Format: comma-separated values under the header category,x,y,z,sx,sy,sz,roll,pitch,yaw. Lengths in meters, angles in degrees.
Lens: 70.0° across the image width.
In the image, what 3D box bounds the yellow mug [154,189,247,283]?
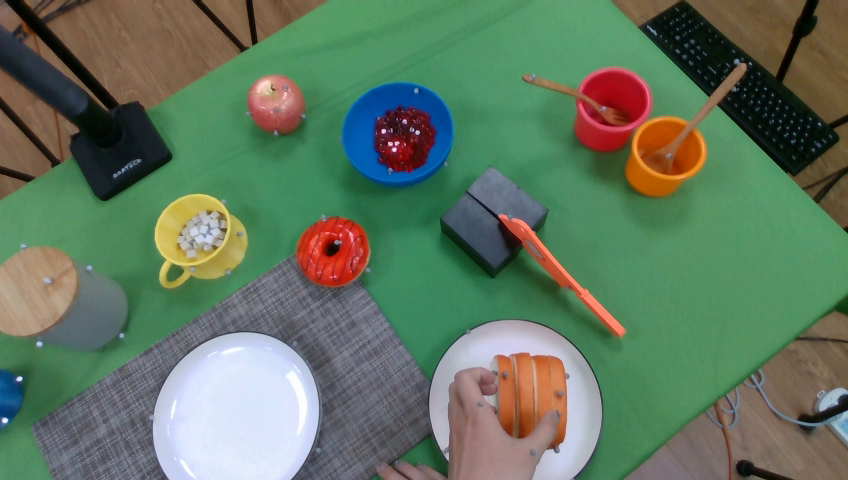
category,x,y,z,sx,sy,sz,roll,pitch,yaw
yellow mug,-0.306,0.002,0.810,0.099,0.064,0.130,29,77,12

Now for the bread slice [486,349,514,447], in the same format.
category,x,y,z,sx,sy,sz,roll,pitch,yaw
bread slice,0.084,0.174,0.685,0.018,0.135,0.106,0,68,0

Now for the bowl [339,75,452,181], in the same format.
category,x,y,z,sx,sy,sz,roll,pitch,yaw
bowl,-0.035,-0.140,0.832,0.151,0.077,0.150,-1,72,4

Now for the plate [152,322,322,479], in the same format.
category,x,y,z,sx,sy,sz,roll,pitch,yaw
plate,-0.226,0.207,0.748,0.207,0.039,0.206,-1,72,3

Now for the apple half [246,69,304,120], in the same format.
category,x,y,z,sx,sy,sz,roll,pitch,yaw
apple half,-0.206,-0.211,0.869,0.080,0.075,0.053,19,68,14

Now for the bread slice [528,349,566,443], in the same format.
category,x,y,z,sx,sy,sz,roll,pitch,yaw
bread slice,0.137,0.176,0.682,0.019,0.132,0.104,3,74,-1

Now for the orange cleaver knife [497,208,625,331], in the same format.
category,x,y,z,sx,sy,sz,roll,pitch,yaw
orange cleaver knife,0.170,0.036,0.759,0.012,0.077,0.212,-45,98,-8

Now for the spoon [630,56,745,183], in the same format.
category,x,y,z,sx,sy,sz,roll,pitch,yaw
spoon,0.336,-0.150,0.774,0.041,0.194,0.022,47,35,17

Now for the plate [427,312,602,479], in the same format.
category,x,y,z,sx,sy,sz,roll,pitch,yaw
plate,0.108,0.192,0.735,0.209,0.038,0.208,-1,72,4

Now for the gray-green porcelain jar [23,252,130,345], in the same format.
category,x,y,z,sx,sy,sz,roll,pitch,yaw
gray-green porcelain jar,-0.446,0.074,0.764,0.106,0.127,0.105,-1,71,4

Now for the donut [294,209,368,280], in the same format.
category,x,y,z,sx,sy,sz,roll,pitch,yaw
donut,-0.123,0.007,0.804,0.099,0.048,0.098,-1,72,3

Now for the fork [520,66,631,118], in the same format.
category,x,y,z,sx,sy,sz,roll,pitch,yaw
fork,0.204,-0.194,0.796,0.209,0.018,0.028,11,65,-36

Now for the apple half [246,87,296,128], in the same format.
category,x,y,z,sx,sy,sz,roll,pitch,yaw
apple half,-0.220,-0.177,0.857,0.081,0.082,0.032,19,69,10

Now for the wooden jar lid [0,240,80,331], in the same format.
category,x,y,z,sx,sy,sz,roll,pitch,yaw
wooden jar lid,-0.450,0.054,0.705,0.108,0.021,0.107,-2,70,5

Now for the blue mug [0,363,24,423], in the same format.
category,x,y,z,sx,sy,sz,roll,pitch,yaw
blue mug,-0.576,0.200,0.741,0.082,0.106,0.116,27,76,12
